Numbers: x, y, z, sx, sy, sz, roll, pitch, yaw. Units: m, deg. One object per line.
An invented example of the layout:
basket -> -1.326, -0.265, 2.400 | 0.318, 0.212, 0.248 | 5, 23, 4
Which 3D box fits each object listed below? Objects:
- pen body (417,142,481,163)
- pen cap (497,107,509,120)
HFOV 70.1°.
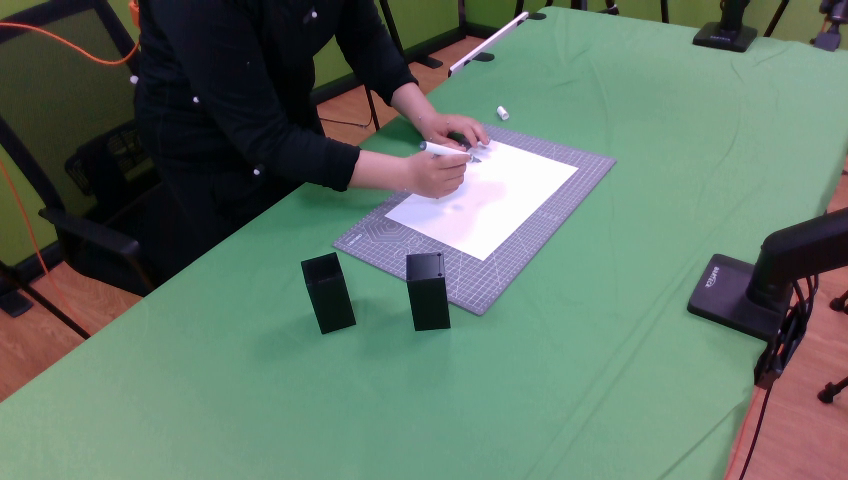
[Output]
pen body -> 0.045, -0.141, 0.995 | 0.145, 0.017, 0.016 | 6, 25, -43
pen cap -> 0.164, -0.264, 1.261 | 0.017, 0.017, 0.038 | -14, 41, -7
